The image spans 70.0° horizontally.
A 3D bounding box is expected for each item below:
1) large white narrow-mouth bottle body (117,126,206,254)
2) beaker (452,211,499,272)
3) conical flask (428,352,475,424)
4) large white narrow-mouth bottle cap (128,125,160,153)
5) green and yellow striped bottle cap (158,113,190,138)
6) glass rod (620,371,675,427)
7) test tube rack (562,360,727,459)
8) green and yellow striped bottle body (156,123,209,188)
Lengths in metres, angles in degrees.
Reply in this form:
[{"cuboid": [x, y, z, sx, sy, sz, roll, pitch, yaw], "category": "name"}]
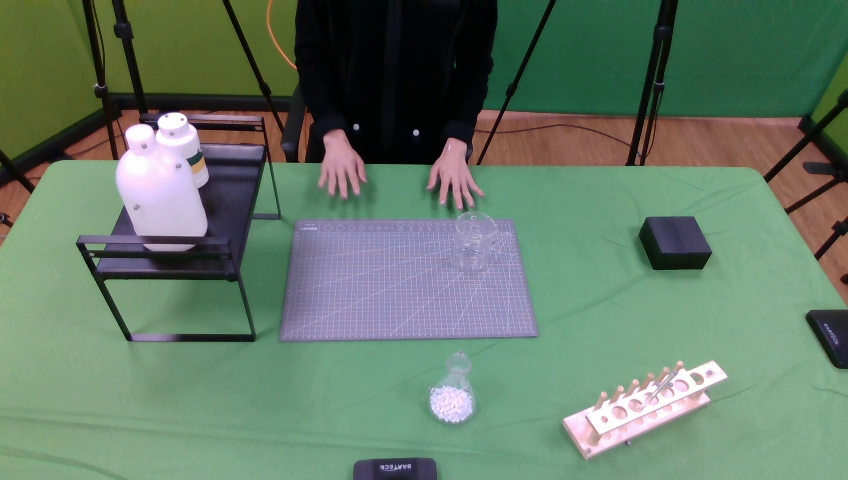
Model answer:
[{"cuboid": [-0.383, -0.076, 0.874, 0.102, 0.195, 0.101, 3, 46, -3], "category": "large white narrow-mouth bottle body"}, {"cuboid": [0.093, 0.006, 1.141, 0.084, 0.101, 0.073, 7, 46, 3], "category": "beaker"}, {"cuboid": [0.046, 0.220, 0.920, 0.075, 0.122, 0.075, 2, 46, -2], "category": "conical flask"}, {"cuboid": [-0.376, -0.136, 0.812, 0.038, 0.024, 0.037, 3, 46, -3], "category": "large white narrow-mouth bottle cap"}, {"cuboid": [-0.393, -0.180, 0.951, 0.045, 0.020, 0.045, 2, 44, -2], "category": "green and yellow striped bottle cap"}, {"cuboid": [0.316, 0.230, 0.863, 0.008, 0.200, 0.008, 3, 54, -3], "category": "glass rod"}, {"cuboid": [0.341, 0.247, 0.940, 0.243, 0.085, 0.066, -16, 49, -18], "category": "test tube rack"}, {"cuboid": [-0.395, -0.145, 0.989, 0.063, 0.120, 0.063, 2, 46, -2], "category": "green and yellow striped bottle body"}]
